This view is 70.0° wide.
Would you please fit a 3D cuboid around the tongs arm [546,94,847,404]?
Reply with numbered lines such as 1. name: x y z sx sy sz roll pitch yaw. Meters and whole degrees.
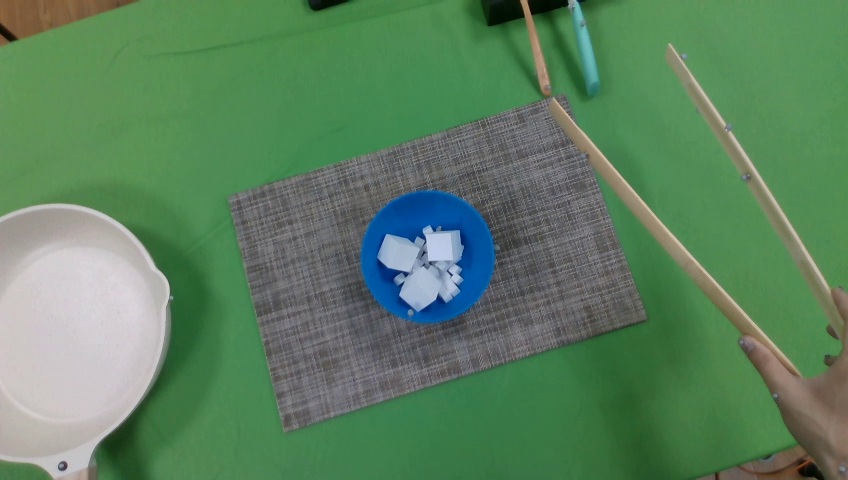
1. tongs arm: 0.240 -0.003 0.578 0.028 0.028 0.384 -31 70 -13

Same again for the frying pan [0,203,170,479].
1. frying pan: -0.405 0.196 0.682 0.307 0.103 0.484 -18 71 0

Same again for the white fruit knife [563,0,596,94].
1. white fruit knife: 0.182 -0.286 0.755 0.016 0.027 0.207 -16 94 -5

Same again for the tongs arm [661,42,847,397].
1. tongs arm: 0.309 -0.036 0.585 0.051 0.027 0.381 -21 69 -5

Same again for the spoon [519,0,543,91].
1. spoon: 0.125 -0.283 0.752 0.041 0.021 0.194 -6 100 24

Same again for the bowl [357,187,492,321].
1. bowl: 0.003 0.022 0.704 0.151 0.077 0.150 0 79 2
